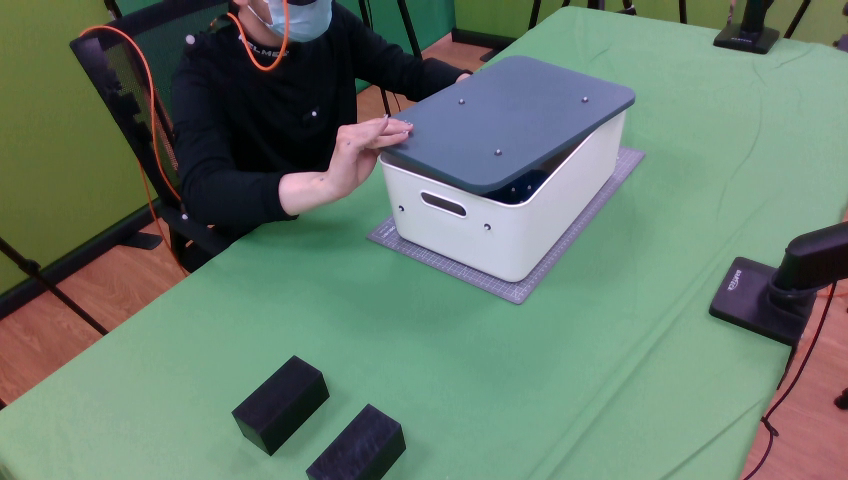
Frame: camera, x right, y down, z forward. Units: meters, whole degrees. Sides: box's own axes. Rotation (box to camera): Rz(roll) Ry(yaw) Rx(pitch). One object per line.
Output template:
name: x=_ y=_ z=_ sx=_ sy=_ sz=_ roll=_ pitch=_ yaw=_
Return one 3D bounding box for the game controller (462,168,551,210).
game controller: x=0.147 y=-0.080 z=1.007 sx=0.156 sy=0.052 sz=0.096 roll=-29 pitch=52 yaw=-24

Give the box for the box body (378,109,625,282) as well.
box body: x=0.137 y=-0.121 z=0.978 sx=0.252 sy=0.161 sz=0.365 roll=22 pitch=48 yaw=30

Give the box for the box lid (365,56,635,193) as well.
box lid: x=0.122 y=-0.194 z=0.926 sx=0.373 sy=0.015 sz=0.261 roll=-33 pitch=47 yaw=-31
